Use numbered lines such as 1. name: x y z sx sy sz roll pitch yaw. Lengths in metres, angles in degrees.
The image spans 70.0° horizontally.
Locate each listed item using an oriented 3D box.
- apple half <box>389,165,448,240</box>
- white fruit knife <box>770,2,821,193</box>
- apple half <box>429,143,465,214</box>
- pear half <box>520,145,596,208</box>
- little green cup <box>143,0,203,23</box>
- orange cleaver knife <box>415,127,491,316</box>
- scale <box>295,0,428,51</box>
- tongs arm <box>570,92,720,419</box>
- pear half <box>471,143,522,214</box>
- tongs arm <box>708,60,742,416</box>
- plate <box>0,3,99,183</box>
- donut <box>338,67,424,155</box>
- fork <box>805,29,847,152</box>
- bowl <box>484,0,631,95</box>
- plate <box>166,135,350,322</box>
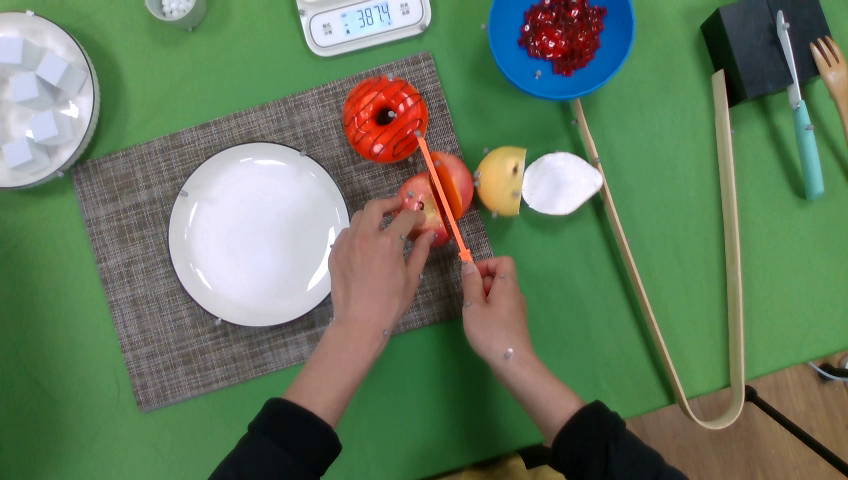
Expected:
1. apple half: -0.009 -0.036 0.660 0.053 0.074 0.081 -19 93 8
2. white fruit knife: 0.390 -0.147 0.639 0.016 0.027 0.208 -19 103 3
3. apple half: 0.028 -0.068 0.663 0.033 0.081 0.081 -12 88 -2
4. pear half: 0.151 -0.069 0.671 0.087 0.031 0.070 -3 88 31
5. little green cup: -0.288 -0.283 0.700 0.061 0.038 0.061 0 89 4
6. orange cleaver knife: 0.029 -0.023 0.639 0.012 0.077 0.211 -21 92 5
7. scale: -0.085 -0.329 0.692 0.148 0.031 0.200 -13 89 4
8. tongs arm: 0.243 0.015 0.668 0.051 0.026 0.384 -17 90 -1
9. pear half: 0.077 -0.067 0.641 0.056 0.110 0.076 -1 86 6
10. tongs arm: 0.327 -0.003 0.667 0.028 0.028 0.387 -3 90 -4
11. plate: -0.477 -0.168 0.709 0.207 0.039 0.207 0 89 3
12. donut: -0.048 -0.144 0.677 0.099 0.048 0.099 0 90 5
13. fork: 0.449 -0.125 0.643 0.028 0.018 0.208 -27 103 0
14. bowl: 0.138 -0.224 0.655 0.151 0.077 0.151 0 90 3
15. plate: -0.184 -0.013 0.687 0.209 0.038 0.209 0 89 3
